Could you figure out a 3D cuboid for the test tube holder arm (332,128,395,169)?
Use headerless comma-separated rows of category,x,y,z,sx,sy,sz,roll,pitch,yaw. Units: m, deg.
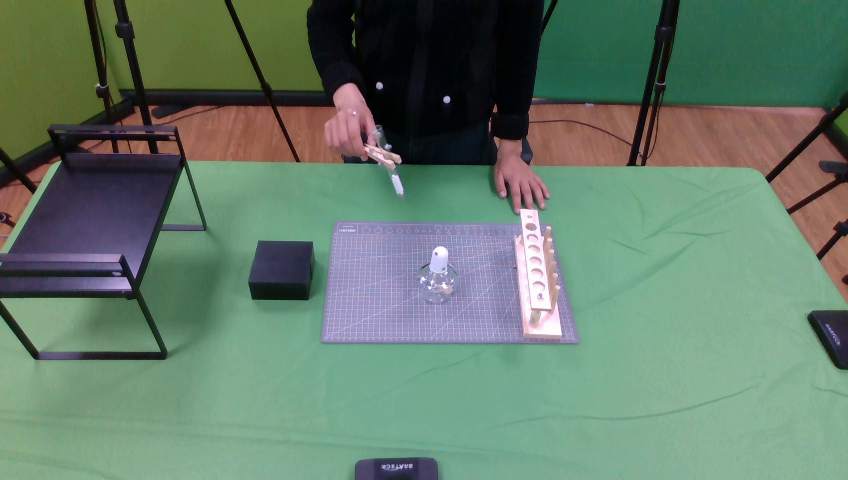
test tube holder arm,-0.111,-0.163,1.068,0.013,0.015,0.177,-42,49,-19

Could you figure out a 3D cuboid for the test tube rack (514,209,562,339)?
test tube rack,0.212,0.056,1.113,0.067,0.085,0.241,3,46,-1

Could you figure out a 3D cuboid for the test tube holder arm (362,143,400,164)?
test tube holder arm,-0.076,-0.150,1.043,0.087,0.015,0.010,23,61,35

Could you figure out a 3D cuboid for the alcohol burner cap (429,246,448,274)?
alcohol burner cap,0.027,0.032,1.053,0.034,0.048,0.033,4,40,-3

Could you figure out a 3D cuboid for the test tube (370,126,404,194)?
test tube,-0.061,-0.133,1.033,0.017,0.151,0.017,-10,48,12

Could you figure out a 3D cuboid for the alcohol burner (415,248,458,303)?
alcohol burner,0.024,0.057,1.078,0.078,0.119,0.077,3,44,-2
